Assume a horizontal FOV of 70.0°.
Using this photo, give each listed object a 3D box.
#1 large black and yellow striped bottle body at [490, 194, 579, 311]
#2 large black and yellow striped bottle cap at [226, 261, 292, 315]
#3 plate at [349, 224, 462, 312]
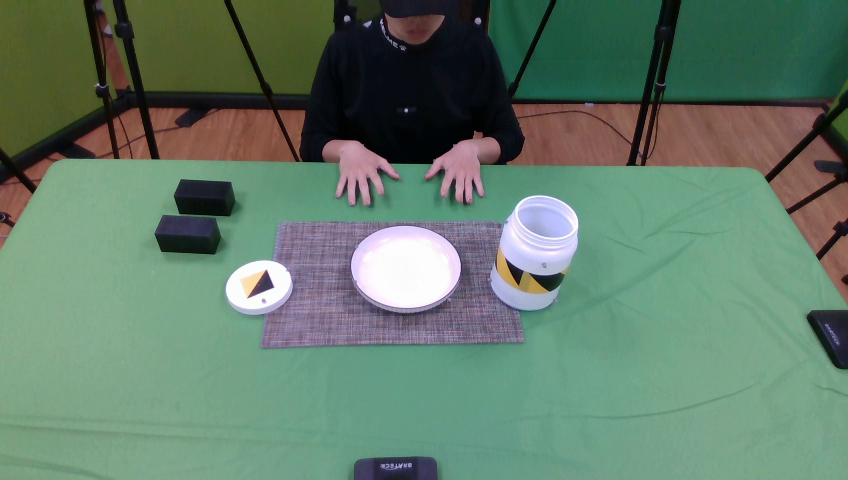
[{"bbox_3d":[0.196,0.022,1.073,0.131,0.185,0.130,4,46,-4],"label":"large black and yellow striped bottle body"},{"bbox_3d":[-0.298,0.085,1.092,0.115,0.019,0.114,0,45,1],"label":"large black and yellow striped bottle cap"},{"bbox_3d":[-0.035,0.054,1.126,0.208,0.039,0.206,2,46,-2],"label":"plate"}]
